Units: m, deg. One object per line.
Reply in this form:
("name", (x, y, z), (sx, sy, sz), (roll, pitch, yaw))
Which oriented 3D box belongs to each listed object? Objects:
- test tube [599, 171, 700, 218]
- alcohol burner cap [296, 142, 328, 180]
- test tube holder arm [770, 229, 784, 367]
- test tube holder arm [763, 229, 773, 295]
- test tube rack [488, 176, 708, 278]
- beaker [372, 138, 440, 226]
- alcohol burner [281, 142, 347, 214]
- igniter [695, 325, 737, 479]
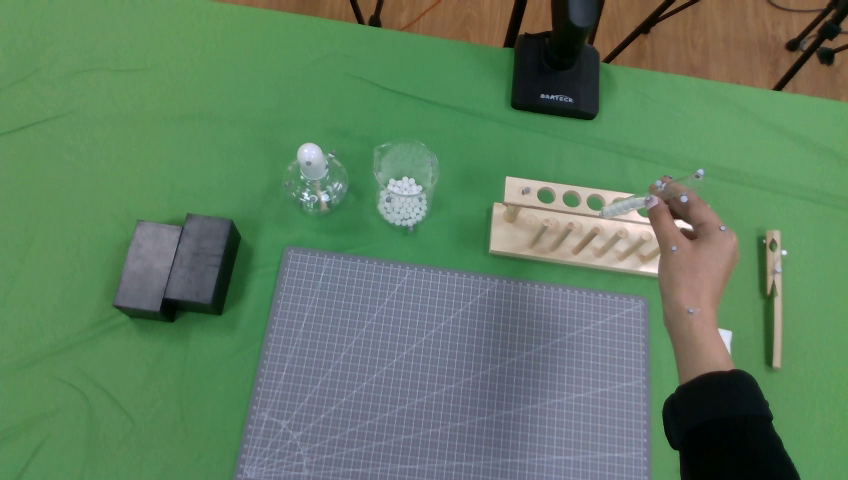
("test tube", (0.216, -0.042, 0.599), (0.017, 0.150, 0.017), (2, 81, -15))
("alcohol burner cap", (-0.126, -0.091, 0.676), (0.034, 0.048, 0.033), (1, 75, -2))
("test tube holder arm", (0.442, 0.069, 0.760), (0.013, 0.015, 0.177), (-5, 65, 31))
("test tube holder arm", (0.443, 0.028, 0.779), (0.010, 0.015, 0.087), (-4, 66, 31))
("test tube rack", (0.206, -0.014, 0.735), (0.242, 0.085, 0.066), (8, 69, -3))
("beaker", (-0.027, -0.066, 0.723), (0.083, 0.101, 0.074), (35, 70, 9))
("alcohol burner", (-0.130, -0.077, 0.709), (0.078, 0.120, 0.077), (2, 67, -4))
("igniter", (0.333, 0.233, 0.686), (0.057, 0.025, 0.274), (13, 69, -11))
